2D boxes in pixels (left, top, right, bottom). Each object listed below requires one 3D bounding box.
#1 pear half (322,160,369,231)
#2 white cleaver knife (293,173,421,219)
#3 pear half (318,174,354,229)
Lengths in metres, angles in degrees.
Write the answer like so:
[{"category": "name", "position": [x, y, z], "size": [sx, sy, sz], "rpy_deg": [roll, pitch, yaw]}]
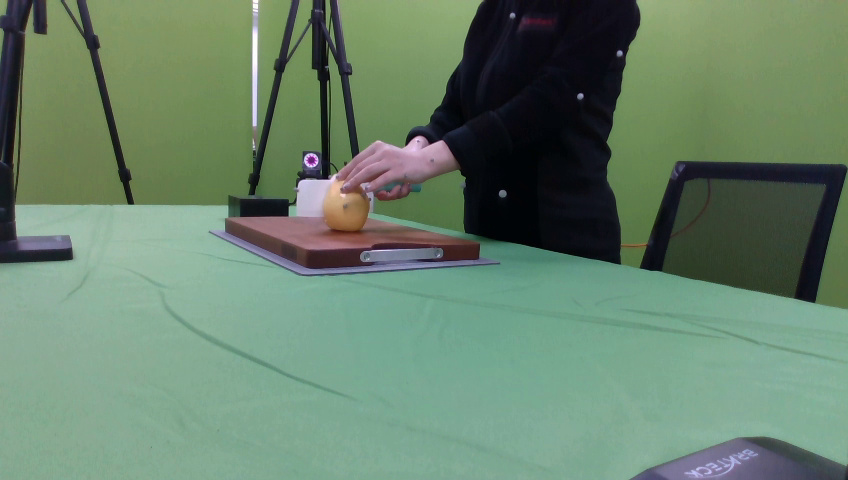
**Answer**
[{"category": "pear half", "position": [-0.115, -0.068, 0.937], "size": [0.055, 0.110, 0.076], "rpy_deg": [7, 13, 31]}, {"category": "white cleaver knife", "position": [-0.103, -0.075, 0.994], "size": [0.021, 0.066, 0.288], "rpy_deg": [12, 15, 39]}, {"category": "pear half", "position": [-0.145, -0.061, 0.959], "size": [0.031, 0.088, 0.071], "rpy_deg": [1, 10, 33]}]
